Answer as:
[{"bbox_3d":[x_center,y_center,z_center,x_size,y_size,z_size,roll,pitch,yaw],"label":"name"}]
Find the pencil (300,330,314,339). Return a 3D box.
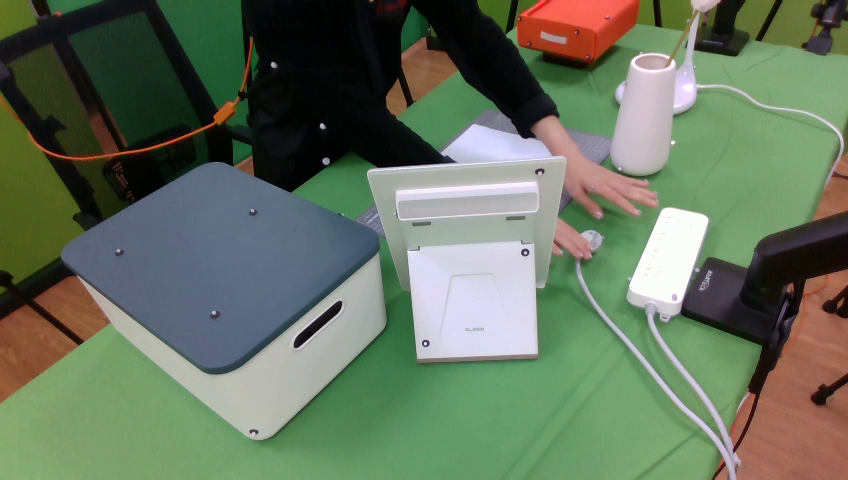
[{"bbox_3d":[-0.204,0.120,0.878,0.192,0.012,0.012,18,45,39],"label":"pencil"}]

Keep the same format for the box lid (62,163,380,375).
[{"bbox_3d":[-0.263,0.012,0.774,0.368,0.015,0.264,23,49,32],"label":"box lid"}]

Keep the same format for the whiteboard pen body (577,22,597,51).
[{"bbox_3d":[0.373,-0.468,1.390,0.017,0.017,0.141,14,47,23],"label":"whiteboard pen body"}]

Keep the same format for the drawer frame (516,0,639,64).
[{"bbox_3d":[0.356,-0.507,1.410,0.200,0.083,0.214,25,51,32],"label":"drawer frame"}]

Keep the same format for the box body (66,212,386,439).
[{"bbox_3d":[-0.257,0.068,0.824,0.361,0.161,0.255,24,49,31],"label":"box body"}]

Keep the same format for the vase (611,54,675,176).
[{"bbox_3d":[0.377,-0.209,1.031,0.098,0.201,0.097,-3,40,3],"label":"vase"}]

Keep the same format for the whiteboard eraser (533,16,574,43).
[{"bbox_3d":[0.305,-0.493,1.422,0.055,0.042,0.113,27,43,25],"label":"whiteboard eraser"}]

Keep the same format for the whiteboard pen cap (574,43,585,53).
[{"bbox_3d":[0.347,-0.429,1.350,0.018,0.018,0.033,16,40,25],"label":"whiteboard pen cap"}]

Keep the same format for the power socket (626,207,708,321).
[{"bbox_3d":[0.360,0.025,0.886,0.072,0.033,0.227,16,46,26],"label":"power socket"}]

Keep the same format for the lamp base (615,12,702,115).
[{"bbox_3d":[0.484,-0.364,1.211,0.180,0.181,0.159,-15,41,-14],"label":"lamp base"}]

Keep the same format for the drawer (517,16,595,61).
[{"bbox_3d":[0.353,-0.505,1.404,0.193,0.073,0.212,25,50,33],"label":"drawer"}]

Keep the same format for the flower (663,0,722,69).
[{"bbox_3d":[0.379,-0.261,0.965,0.044,0.362,0.038,20,53,5],"label":"flower"}]

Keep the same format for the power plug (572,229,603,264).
[{"bbox_3d":[0.240,0.013,0.914,0.072,0.053,0.035,-44,53,-10],"label":"power plug"}]

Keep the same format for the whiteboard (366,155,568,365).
[{"bbox_3d":[0.059,0.049,0.738,0.217,0.307,0.143,-3,60,5],"label":"whiteboard"}]
